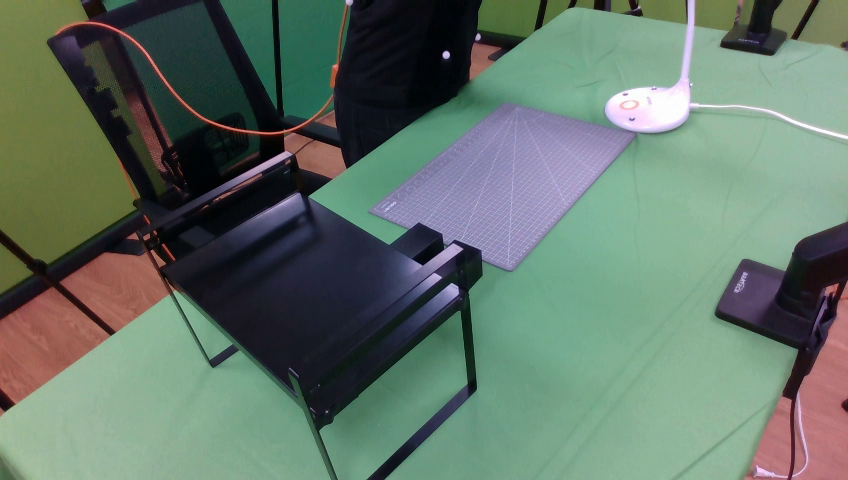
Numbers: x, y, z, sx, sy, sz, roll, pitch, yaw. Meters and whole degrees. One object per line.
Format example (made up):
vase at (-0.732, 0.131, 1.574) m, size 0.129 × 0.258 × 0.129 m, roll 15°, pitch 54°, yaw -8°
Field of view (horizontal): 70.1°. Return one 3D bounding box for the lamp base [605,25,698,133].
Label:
lamp base at (0.449, -0.321, 1.161) m, size 0.179 × 0.181 × 0.159 m, roll -6°, pitch 41°, yaw -2°
